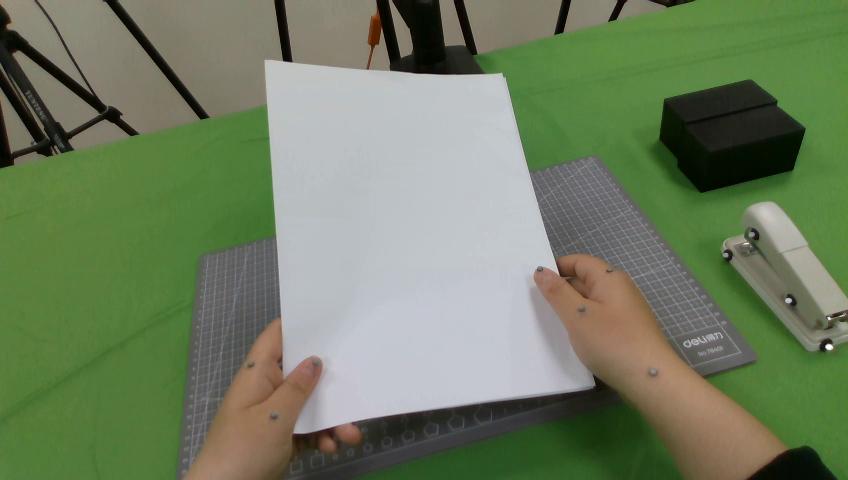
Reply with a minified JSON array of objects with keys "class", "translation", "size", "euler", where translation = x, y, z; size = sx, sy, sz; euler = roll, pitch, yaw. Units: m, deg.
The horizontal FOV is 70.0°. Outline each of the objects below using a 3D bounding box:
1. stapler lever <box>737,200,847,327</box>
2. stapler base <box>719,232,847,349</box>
[{"class":"stapler lever","translation":[0.295,0.014,0.484],"size":[0.027,0.040,0.116],"euler":[-17,44,-3]},{"class":"stapler base","translation":[0.298,0.031,0.502],"size":[0.041,0.025,0.129],"euler":[-16,44,-3]}]
